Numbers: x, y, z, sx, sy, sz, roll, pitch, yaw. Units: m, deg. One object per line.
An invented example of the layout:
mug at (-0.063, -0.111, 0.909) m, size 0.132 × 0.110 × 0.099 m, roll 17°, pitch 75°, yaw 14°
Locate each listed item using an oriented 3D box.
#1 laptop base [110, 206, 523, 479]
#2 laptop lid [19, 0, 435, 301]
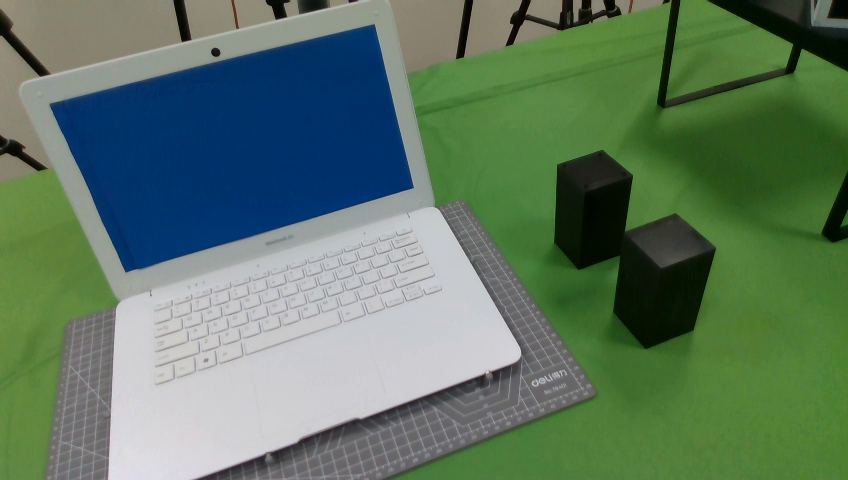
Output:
laptop base at (-0.113, 0.088, 0.580) m, size 0.355 × 0.023 × 0.232 m, roll -18°, pitch 45°, yaw -10°
laptop lid at (-0.176, -0.088, 0.617) m, size 0.357 × 0.243 × 0.013 m, roll -19°, pitch 24°, yaw -10°
